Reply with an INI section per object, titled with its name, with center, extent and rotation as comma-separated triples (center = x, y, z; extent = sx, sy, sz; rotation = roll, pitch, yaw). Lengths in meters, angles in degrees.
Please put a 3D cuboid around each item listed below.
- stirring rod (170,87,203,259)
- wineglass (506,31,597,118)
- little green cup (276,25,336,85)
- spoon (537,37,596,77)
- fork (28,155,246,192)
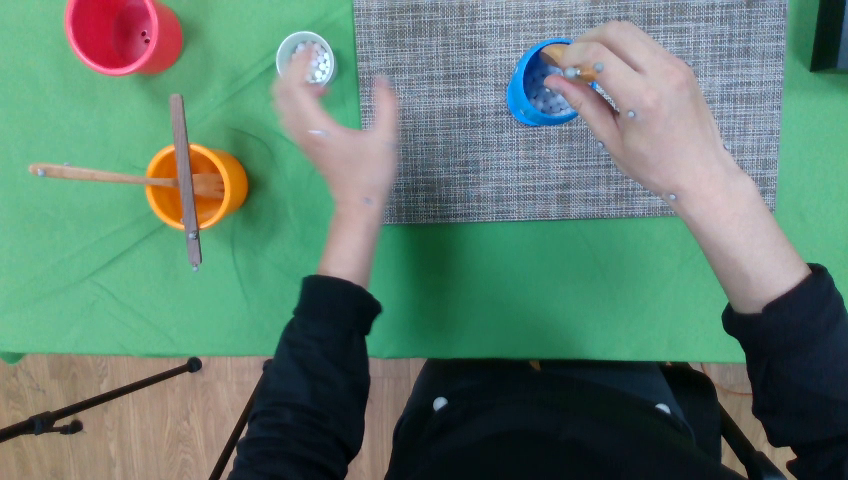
[stirring rod]
center = -0.245, -0.067, 0.625
extent = 0.014, 0.006, 0.176
rotation = -2, 100, 4
[wineglass]
center = 0.114, -0.150, 0.570
extent = 0.073, 0.172, 0.074
rotation = 1, 100, 4
[little green cup]
center = -0.124, -0.196, 0.649
extent = 0.061, 0.038, 0.062
rotation = 1, 101, 4
[spoon]
center = 0.104, -0.127, 0.428
extent = 0.041, 0.192, 0.022
rotation = 19, 114, 0
[fork]
center = -0.288, -0.069, 0.629
extent = 0.209, 0.018, 0.028
rotation = 2, 112, -41
